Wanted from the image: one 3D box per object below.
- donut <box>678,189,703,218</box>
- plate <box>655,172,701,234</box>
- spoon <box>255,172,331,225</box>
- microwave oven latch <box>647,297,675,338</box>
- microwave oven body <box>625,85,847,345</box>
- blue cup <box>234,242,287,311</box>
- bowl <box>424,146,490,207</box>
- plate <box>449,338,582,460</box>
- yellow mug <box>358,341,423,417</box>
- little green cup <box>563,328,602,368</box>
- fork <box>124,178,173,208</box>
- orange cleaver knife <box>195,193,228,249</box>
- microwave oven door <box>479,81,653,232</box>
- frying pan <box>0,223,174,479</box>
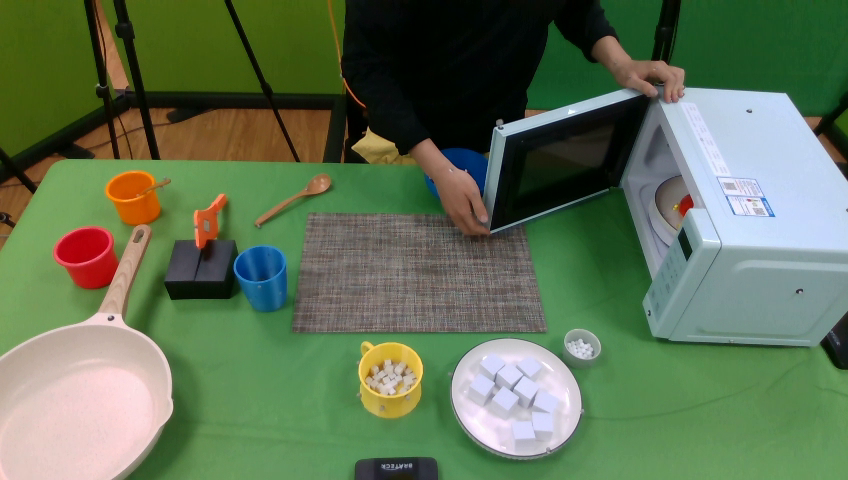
[{"bbox_3d":[0.543,-0.061,1.174,0.099,0.048,0.098,1,42,-1],"label":"donut"},{"bbox_3d":[0.556,-0.054,1.182,0.209,0.038,0.208,0,45,0],"label":"plate"},{"bbox_3d":[-0.272,-0.087,1.257,0.041,0.022,0.193,42,57,18],"label":"spoon"},{"bbox_3d":[0.413,0.133,1.060,0.030,0.029,0.078,5,46,2],"label":"microwave oven latch"},{"bbox_3d":[0.568,-0.054,1.116,0.326,0.261,0.439,2,46,-1],"label":"microwave oven body"},{"bbox_3d":[-0.276,0.071,1.052,0.093,0.101,0.092,1,48,-1],"label":"blue cup"},{"bbox_3d":[0.075,-0.122,1.274,0.151,0.077,0.150,1,46,-1],"label":"bowl"},{"bbox_3d":[0.141,0.251,0.955,0.208,0.039,0.206,2,46,-2],"label":"plate"},{"bbox_3d":[-0.063,0.210,0.961,0.100,0.064,0.130,-29,54,-27],"label":"yellow mug"},{"bbox_3d":[0.265,0.184,1.025,0.061,0.039,0.061,2,46,-1],"label":"little green cup"},{"bbox_3d":[-0.525,-0.090,1.154,0.207,0.019,0.028,-17,27,45],"label":"fork"},{"bbox_3d":[-0.406,-0.041,1.163,0.012,0.077,0.210,0,18,-3],"label":"orange cleaver knife"},{"bbox_3d":[0.279,-0.164,1.194,0.356,0.245,0.039,-20,51,-21],"label":"microwave oven door"},{"bbox_3d":[-0.505,0.169,0.941,0.307,0.103,0.485,5,54,-1],"label":"frying pan"}]
